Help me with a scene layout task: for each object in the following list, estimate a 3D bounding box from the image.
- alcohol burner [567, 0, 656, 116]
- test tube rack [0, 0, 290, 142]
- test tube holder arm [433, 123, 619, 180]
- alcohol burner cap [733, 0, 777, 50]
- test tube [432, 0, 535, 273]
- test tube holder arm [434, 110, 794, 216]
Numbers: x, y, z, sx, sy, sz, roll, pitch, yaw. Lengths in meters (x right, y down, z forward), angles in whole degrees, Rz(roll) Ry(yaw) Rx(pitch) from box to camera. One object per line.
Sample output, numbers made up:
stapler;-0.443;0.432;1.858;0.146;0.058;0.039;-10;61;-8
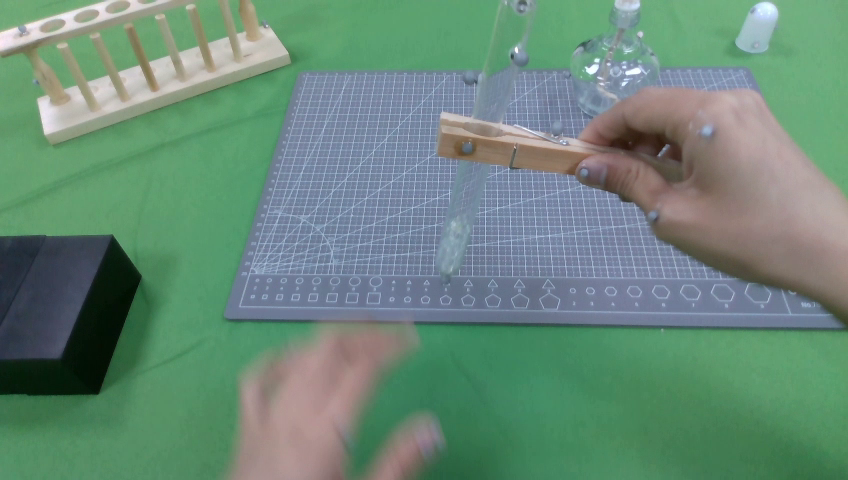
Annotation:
alcohol burner;0.167;-0.169;0.528;0.078;0.120;0.077;-1;50;2
test tube rack;-0.265;-0.189;0.590;0.242;0.086;0.066;-24;54;-16
test tube holder arm;0.048;-0.041;0.286;0.088;0.015;0.010;7;39;-10
alcohol burner cap;0.334;-0.219;0.608;0.034;0.048;0.033;-2;51;3
test tube;0.024;-0.042;0.291;0.017;0.151;0.017;9;37;-6
test tube holder arm;0.093;-0.037;0.295;0.179;0.015;0.013;12;39;-4
